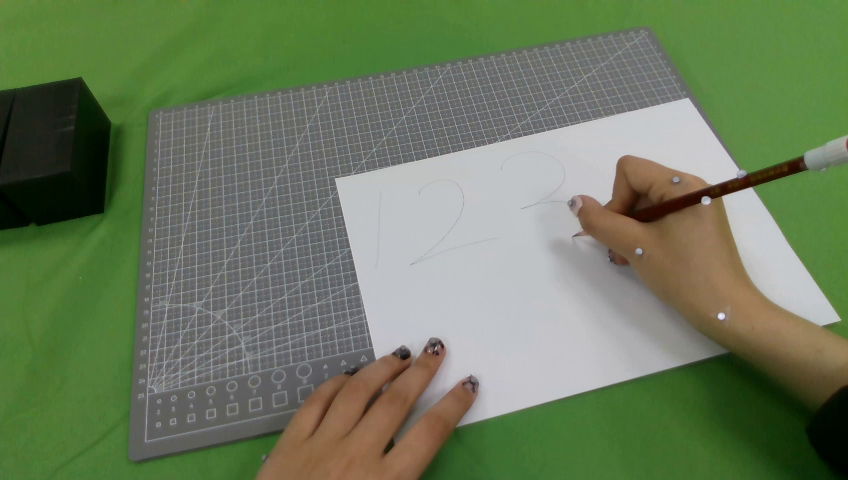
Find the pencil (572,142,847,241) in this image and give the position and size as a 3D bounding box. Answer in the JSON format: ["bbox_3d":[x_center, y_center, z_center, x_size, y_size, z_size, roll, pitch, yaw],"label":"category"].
[{"bbox_3d":[0.152,-0.021,0.350,0.012,0.193,0.012,8,74,-28],"label":"pencil"}]
